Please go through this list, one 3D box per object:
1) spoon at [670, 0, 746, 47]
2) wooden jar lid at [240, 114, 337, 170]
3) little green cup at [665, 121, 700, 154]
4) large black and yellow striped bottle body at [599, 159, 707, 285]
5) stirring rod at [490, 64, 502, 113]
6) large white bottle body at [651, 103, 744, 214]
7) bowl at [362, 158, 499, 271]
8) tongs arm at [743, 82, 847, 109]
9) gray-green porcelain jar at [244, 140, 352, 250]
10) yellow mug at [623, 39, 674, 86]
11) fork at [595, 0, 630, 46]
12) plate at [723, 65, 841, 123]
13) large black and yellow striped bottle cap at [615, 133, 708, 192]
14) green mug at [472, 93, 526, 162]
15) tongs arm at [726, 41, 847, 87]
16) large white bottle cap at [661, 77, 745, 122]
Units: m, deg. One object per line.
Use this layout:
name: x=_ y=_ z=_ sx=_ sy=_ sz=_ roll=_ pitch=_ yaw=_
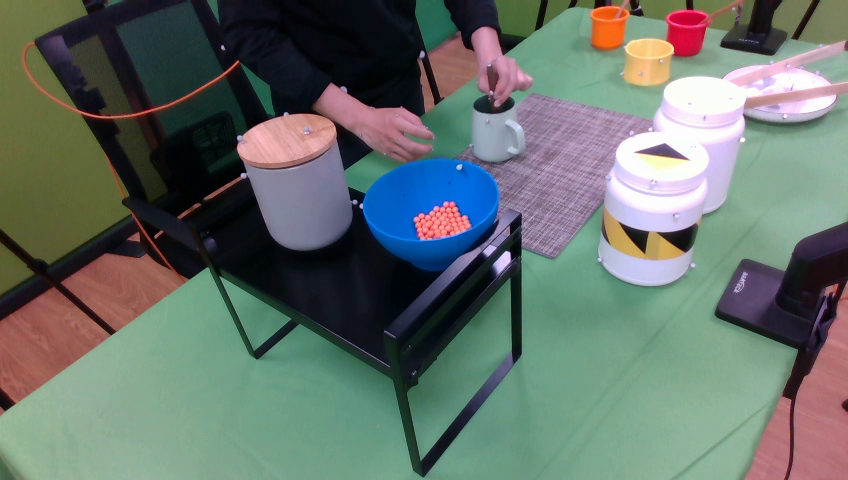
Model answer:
spoon: x=0.629 y=-0.485 z=1.350 sx=0.022 sy=0.193 sz=0.042 roll=47 pitch=54 yaw=-7
wooden jar lid: x=-0.149 y=-0.106 z=0.673 sx=0.108 sy=0.021 sz=0.108 roll=-6 pitch=39 yaw=5
little green cup: x=0.473 y=-0.188 z=1.113 sx=0.061 sy=0.039 sz=0.061 roll=-6 pitch=40 yaw=5
large black and yellow striped bottle body: x=0.320 y=-0.042 z=0.854 sx=0.131 sy=0.185 sz=0.130 roll=-4 pitch=41 yaw=4
stirring rod: x=0.133 y=-0.233 z=1.082 sx=0.005 sy=0.177 sz=0.014 roll=21 pitch=53 yaw=34
large white bottle body: x=0.426 y=-0.146 z=0.958 sx=0.130 sy=0.185 sz=0.130 roll=-4 pitch=40 yaw=4
bowl: x=0.011 y=-0.019 z=0.679 sx=0.151 sy=0.077 sz=0.150 roll=-5 pitch=41 yaw=5
tongs arm: x=0.738 y=-0.283 z=1.133 sx=0.388 sy=0.028 sz=0.028 roll=-9 pitch=46 yaw=-5
gray-green porcelain jar: x=-0.144 y=-0.060 z=0.714 sx=0.106 sy=0.127 sz=0.105 roll=-4 pitch=41 yaw=4
yellow mug: x=0.485 y=-0.398 z=1.334 sx=0.100 sy=0.064 sz=0.130 roll=-18 pitch=41 yaw=-10
fork: x=0.480 y=-0.556 z=1.452 sx=0.028 sy=0.019 sz=0.207 roll=42 pitch=104 yaw=40
plate: x=0.695 y=-0.282 z=1.189 sx=0.207 sy=0.039 sz=0.206 roll=-4 pitch=40 yaw=4
large black and yellow striped bottle cap: x=0.313 y=-0.105 z=0.799 sx=0.115 sy=0.019 sz=0.114 roll=-5 pitch=41 yaw=5
green mug: x=0.144 y=-0.201 z=1.122 sx=0.093 sy=0.105 sz=0.124 roll=-29 pitch=45 yaw=-23
tongs arm: x=0.712 y=-0.332 z=1.194 sx=0.386 sy=0.026 sz=0.050 roll=-18 pitch=44 yaw=-16
large white bottle cap: x=0.415 y=-0.210 z=0.904 sx=0.115 sy=0.018 sz=0.114 roll=-4 pitch=40 yaw=4
